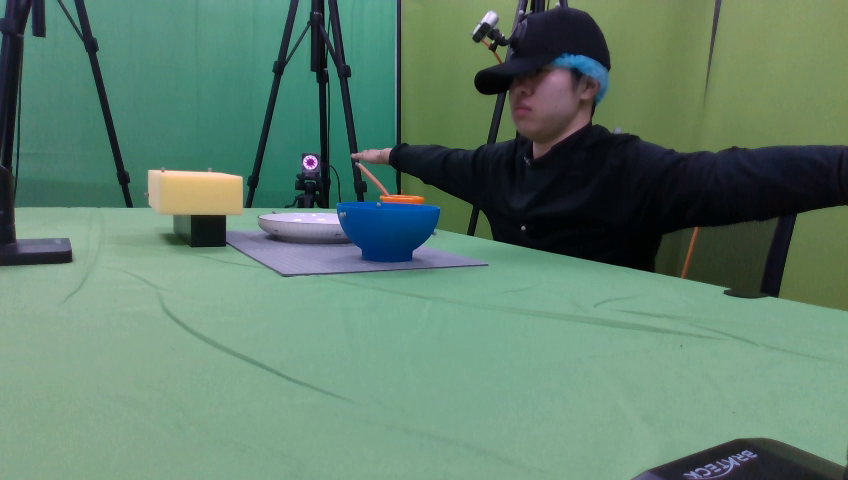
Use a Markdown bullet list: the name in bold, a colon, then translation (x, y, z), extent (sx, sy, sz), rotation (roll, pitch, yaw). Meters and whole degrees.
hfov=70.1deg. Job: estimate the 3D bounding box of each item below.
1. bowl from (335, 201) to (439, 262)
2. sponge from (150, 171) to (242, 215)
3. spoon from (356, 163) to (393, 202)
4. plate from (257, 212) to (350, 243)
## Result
- **bowl**: translation (-0.054, -0.012, 0.871), extent (0.151, 0.077, 0.151), rotation (2, 8, 0)
- **sponge**: translation (-0.379, -0.079, 0.994), extent (0.119, 0.061, 0.206), rotation (-1, 8, -29)
- **spoon**: translation (-0.078, -0.090, 1.233), extent (0.021, 0.193, 0.042), rotation (-44, -16, 26)
- **plate**: translation (-0.189, -0.023, 1.072), extent (0.209, 0.038, 0.209), rotation (3, 7, 0)
